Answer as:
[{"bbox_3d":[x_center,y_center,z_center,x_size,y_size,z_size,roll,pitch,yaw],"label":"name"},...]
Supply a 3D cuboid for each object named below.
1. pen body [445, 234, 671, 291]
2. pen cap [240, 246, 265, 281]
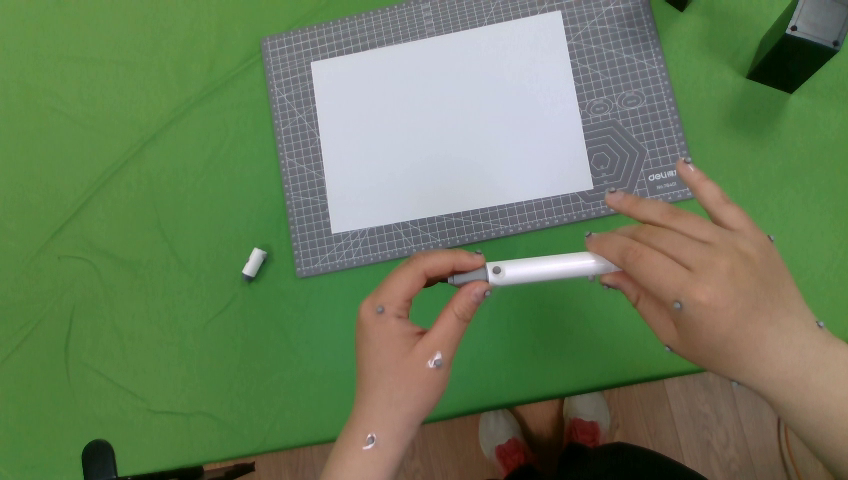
[{"bbox_3d":[0.084,0.017,0.383,0.144,0.017,0.017,-10,81,-2],"label":"pen body"},{"bbox_3d":[-0.198,0.028,0.697,0.017,0.017,0.038,27,86,11],"label":"pen cap"}]
